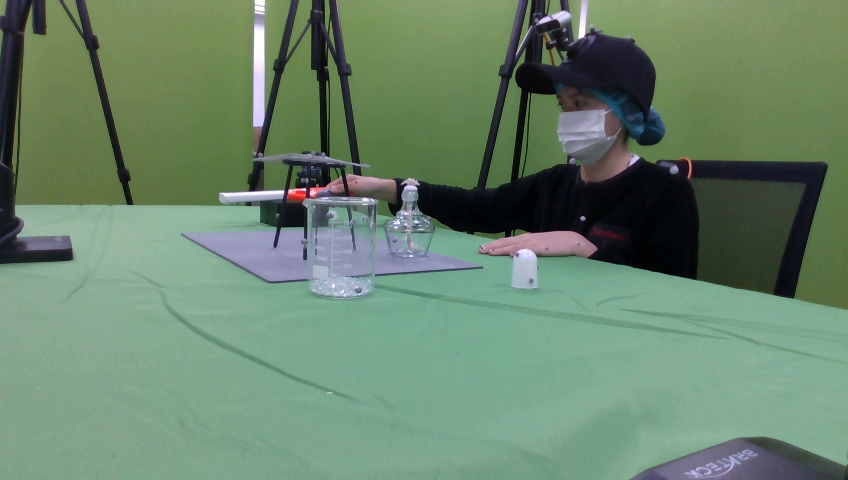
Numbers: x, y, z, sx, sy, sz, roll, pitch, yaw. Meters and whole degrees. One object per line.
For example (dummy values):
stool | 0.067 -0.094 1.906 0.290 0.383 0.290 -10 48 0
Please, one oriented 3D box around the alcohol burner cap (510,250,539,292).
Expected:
alcohol burner cap | 0.118 0.036 0.704 0.034 0.048 0.034 0 6 0

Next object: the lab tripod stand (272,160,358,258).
lab tripod stand | -0.159 -0.048 0.876 0.148 0.131 0.148 3 5 0

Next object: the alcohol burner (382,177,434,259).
alcohol burner | -0.023 -0.033 0.891 0.078 0.119 0.078 1 6 0

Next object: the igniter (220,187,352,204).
igniter | -0.278 -0.093 1.254 0.278 0.025 0.057 -6 19 -34

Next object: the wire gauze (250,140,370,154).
wire gauze | -0.163 -0.131 0.867 0.124 0.011 0.122 -1 8 32

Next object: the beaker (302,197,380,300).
beaker | -0.089 0.007 0.625 0.084 0.100 0.074 4 7 16
